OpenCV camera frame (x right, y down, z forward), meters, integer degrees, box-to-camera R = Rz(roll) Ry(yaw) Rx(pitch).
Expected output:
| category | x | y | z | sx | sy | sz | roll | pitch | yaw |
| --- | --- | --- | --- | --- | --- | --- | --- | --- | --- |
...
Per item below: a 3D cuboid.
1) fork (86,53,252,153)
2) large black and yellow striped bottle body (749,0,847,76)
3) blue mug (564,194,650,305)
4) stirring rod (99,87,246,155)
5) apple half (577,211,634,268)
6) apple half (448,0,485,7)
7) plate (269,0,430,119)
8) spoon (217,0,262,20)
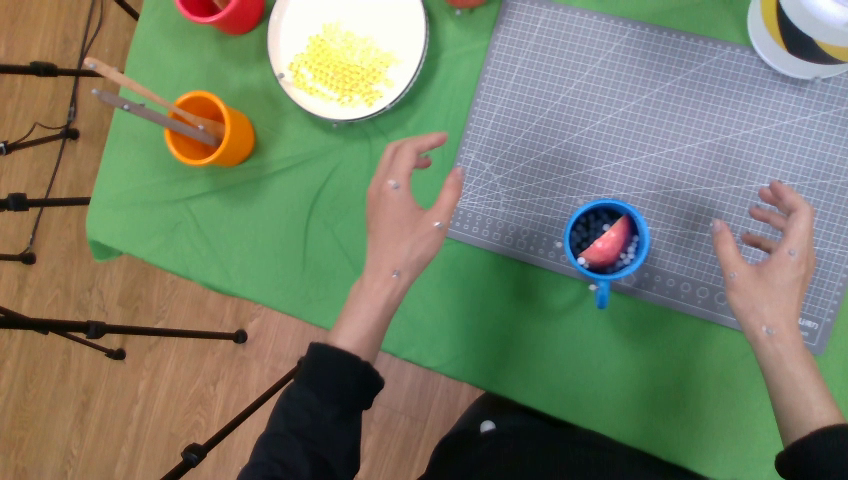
| category | x | y | z | sx | sy | sz | roll | pitch | yaw |
| --- | --- | --- | --- | --- | --- | --- | --- | --- | --- |
| fork | -0.309 | -0.167 | 0.748 | 0.209 | 0.018 | 0.028 | 29 | 98 | -32 |
| large black and yellow striped bottle body | 0.396 | -0.242 | 0.563 | 0.130 | 0.184 | 0.130 | 0 | 88 | 13 |
| blue mug | 0.193 | 0.013 | 0.653 | 0.082 | 0.106 | 0.116 | 3 | 91 | 14 |
| stirring rod | -0.307 | -0.146 | 0.750 | 0.177 | 0.006 | 0.014 | 22 | 85 | -28 |
| apple half | 0.200 | 0.005 | 0.646 | 0.081 | 0.082 | 0.032 | -42 | 74 | 10 |
| apple half | 0.045 | -0.301 | 0.703 | 0.080 | 0.074 | 0.053 | 22 | 99 | 9 |
| plate | -0.091 | -0.253 | 0.753 | 0.208 | 0.038 | 0.209 | 0 | 91 | 14 |
| spoon | -0.294 | -0.330 | 0.746 | 0.195 | 0.021 | 0.041 | 21 | 96 | -31 |
